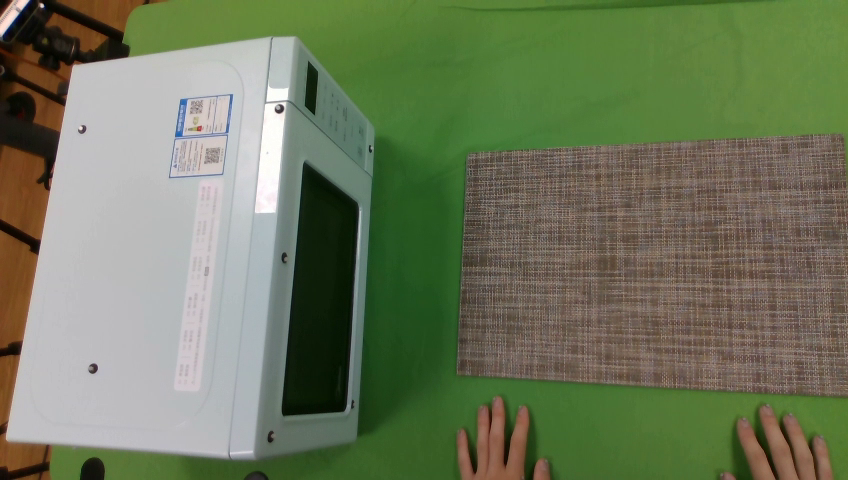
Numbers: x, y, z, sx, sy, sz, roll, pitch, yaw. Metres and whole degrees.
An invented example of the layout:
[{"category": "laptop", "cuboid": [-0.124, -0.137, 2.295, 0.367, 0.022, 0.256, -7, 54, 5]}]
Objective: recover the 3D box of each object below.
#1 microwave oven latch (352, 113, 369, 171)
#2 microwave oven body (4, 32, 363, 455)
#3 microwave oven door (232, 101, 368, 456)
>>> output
[{"category": "microwave oven latch", "cuboid": [-0.093, -0.136, 0.842, 0.030, 0.030, 0.079, -1, 78, 16]}, {"category": "microwave oven body", "cuboid": [-0.268, 0.019, 0.754, 0.325, 0.262, 0.439, -2, 77, 15]}, {"category": "microwave oven door", "cuboid": [-0.130, 0.054, 0.700, 0.039, 0.245, 0.354, -2, 76, 16]}]
